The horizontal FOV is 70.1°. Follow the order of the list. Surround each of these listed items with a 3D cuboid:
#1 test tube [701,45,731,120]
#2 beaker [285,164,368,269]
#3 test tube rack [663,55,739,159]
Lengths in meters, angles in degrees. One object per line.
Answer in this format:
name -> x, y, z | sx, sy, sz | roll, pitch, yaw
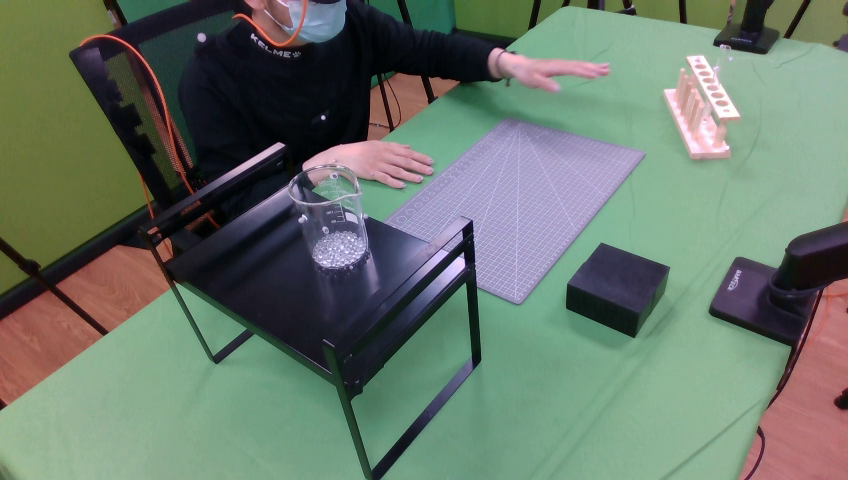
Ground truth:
test tube -> 0.527, -0.281, 1.095 | 0.017, 0.151, 0.017 | -3, 46, 3
beaker -> -0.102, -0.024, 0.676 | 0.083, 0.101, 0.074 | 8, 43, 17
test tube rack -> 0.518, -0.256, 1.144 | 0.066, 0.085, 0.241 | -1, 41, 8
